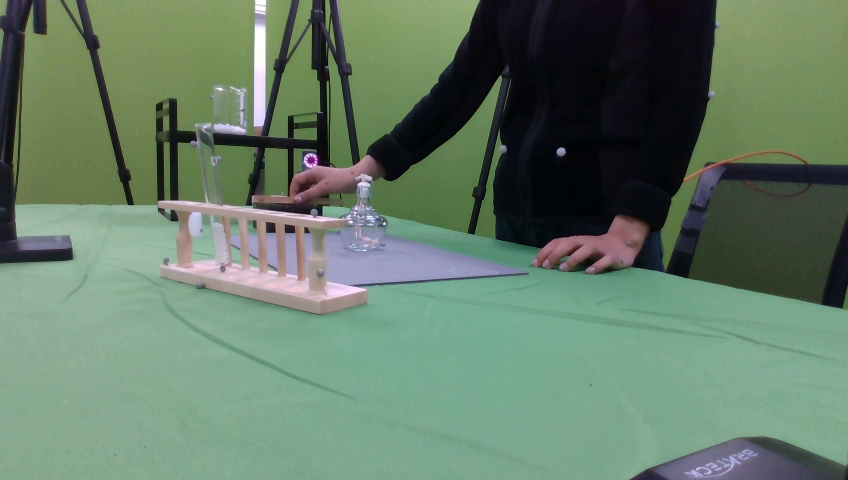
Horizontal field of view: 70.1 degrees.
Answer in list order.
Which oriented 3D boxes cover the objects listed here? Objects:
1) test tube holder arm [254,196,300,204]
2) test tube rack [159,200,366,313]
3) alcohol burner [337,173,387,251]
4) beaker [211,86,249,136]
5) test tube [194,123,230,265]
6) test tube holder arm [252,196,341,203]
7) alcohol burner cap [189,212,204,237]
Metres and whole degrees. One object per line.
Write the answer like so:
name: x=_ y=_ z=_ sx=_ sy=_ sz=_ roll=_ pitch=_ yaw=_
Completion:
test tube holder arm: x=-0.276 y=-0.075 z=1.135 sx=0.088 sy=0.015 sz=0.010 roll=-2 pitch=18 yaw=-34
test tube rack: x=-0.173 y=0.009 z=0.624 sx=0.241 sy=0.085 sz=0.067 roll=7 pitch=9 yaw=34
alcohol burner: x=-0.095 y=-0.043 z=0.926 sx=0.078 sy=0.119 sz=0.078 roll=3 pitch=6 yaw=0
beaker: x=-0.413 y=-0.274 z=1.297 sx=0.074 sy=0.100 sz=0.083 roll=-5 pitch=11 yaw=-44
test tube: x=-0.218 y=-0.045 z=0.624 sx=0.017 sy=0.150 sz=0.017 roll=-2 pitch=19 yaw=1
test tube holder arm: x=-0.242 y=-0.078 z=1.166 sx=0.179 sy=0.015 sz=0.013 roll=-3 pitch=18 yaw=-36
alcohol burner cap: x=-0.389 y=-0.029 z=1.026 sx=0.034 sy=0.048 sz=0.034 roll=3 pitch=8 yaw=0
